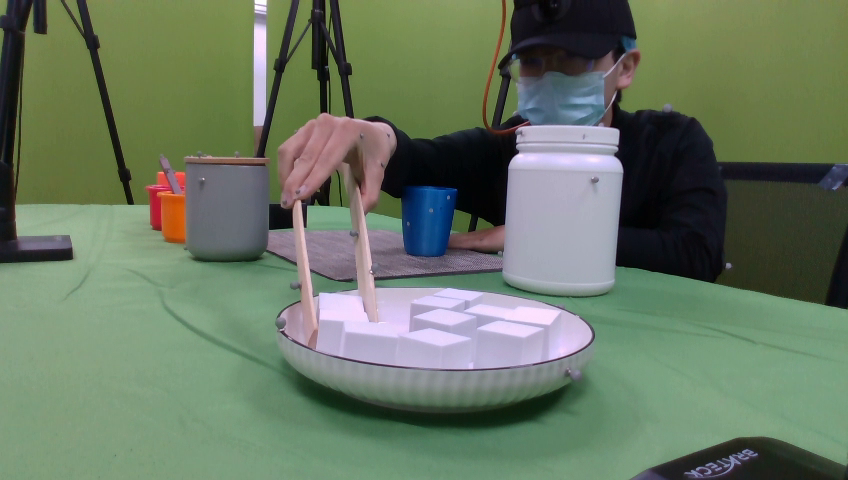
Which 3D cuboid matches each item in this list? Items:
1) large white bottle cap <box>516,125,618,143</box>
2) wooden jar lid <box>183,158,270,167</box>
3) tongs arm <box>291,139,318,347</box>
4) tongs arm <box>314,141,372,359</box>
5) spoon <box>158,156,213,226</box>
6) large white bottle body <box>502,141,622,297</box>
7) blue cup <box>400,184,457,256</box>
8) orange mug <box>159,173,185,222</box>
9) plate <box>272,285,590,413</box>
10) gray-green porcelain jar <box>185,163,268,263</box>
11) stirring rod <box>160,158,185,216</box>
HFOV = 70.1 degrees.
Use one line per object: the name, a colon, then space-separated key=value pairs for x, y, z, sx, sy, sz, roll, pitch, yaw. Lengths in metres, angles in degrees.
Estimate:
large white bottle cap: x=0.163 y=-0.120 z=0.694 sx=0.115 sy=0.018 sz=0.115 roll=2 pitch=8 yaw=0
wooden jar lid: x=-0.260 y=-0.099 z=0.800 sx=0.108 sy=0.020 sz=0.108 roll=0 pitch=9 yaw=0
tongs arm: x=-0.104 y=-0.024 z=0.538 sx=0.028 sy=0.028 sz=0.386 roll=6 pitch=24 yaw=-15
tongs arm: x=-0.081 y=-0.020 z=0.545 sx=0.051 sy=0.026 sz=0.383 roll=11 pitch=23 yaw=-12
spoon: x=-0.435 y=-0.094 z=1.121 sx=0.041 sy=0.022 sz=0.193 roll=5 pitch=51 yaw=13
large white bottle body: x=0.160 y=-0.036 z=0.706 sx=0.131 sy=0.184 sz=0.130 roll=2 pitch=7 yaw=0
blue cup: x=0.004 y=-0.030 z=0.900 sx=0.093 sy=0.100 sz=0.092 roll=3 pitch=9 yaw=0
orange mug: x=-0.477 y=-0.089 z=1.240 sx=0.127 sy=0.101 sz=0.083 roll=-7 pitch=11 yaw=-33
plate: x=0.004 y=0.069 z=0.407 sx=0.208 sy=0.039 sz=0.207 roll=2 pitch=7 yaw=0
gray-green porcelain jar: x=-0.263 y=-0.038 z=0.808 sx=0.106 sy=0.126 sz=0.106 roll=3 pitch=8 yaw=0
stirring rod: x=-0.391 y=-0.070 z=0.971 sx=0.014 sy=0.006 sz=0.175 roll=-2 pitch=50 yaw=-48
